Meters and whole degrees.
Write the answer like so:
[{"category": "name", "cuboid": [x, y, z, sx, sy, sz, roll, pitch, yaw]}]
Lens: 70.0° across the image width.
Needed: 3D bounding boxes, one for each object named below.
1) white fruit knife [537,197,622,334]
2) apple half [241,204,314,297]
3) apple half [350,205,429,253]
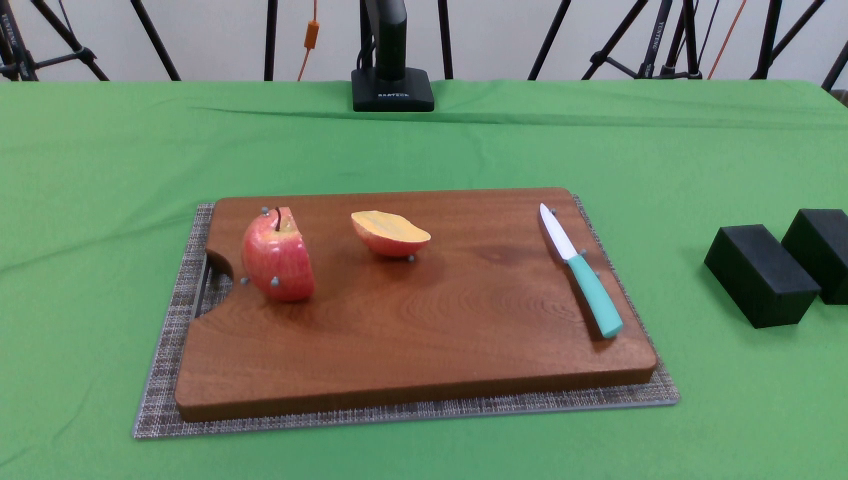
[{"category": "white fruit knife", "cuboid": [0.150, 0.015, 0.605, 0.027, 0.016, 0.205, 8, 37, -19]}, {"category": "apple half", "cuboid": [-0.134, 0.014, 0.540, 0.053, 0.075, 0.080, -18, 49, -17]}, {"category": "apple half", "cuboid": [-0.040, -0.006, 0.594, 0.081, 0.033, 0.081, 17, 20, -6]}]
